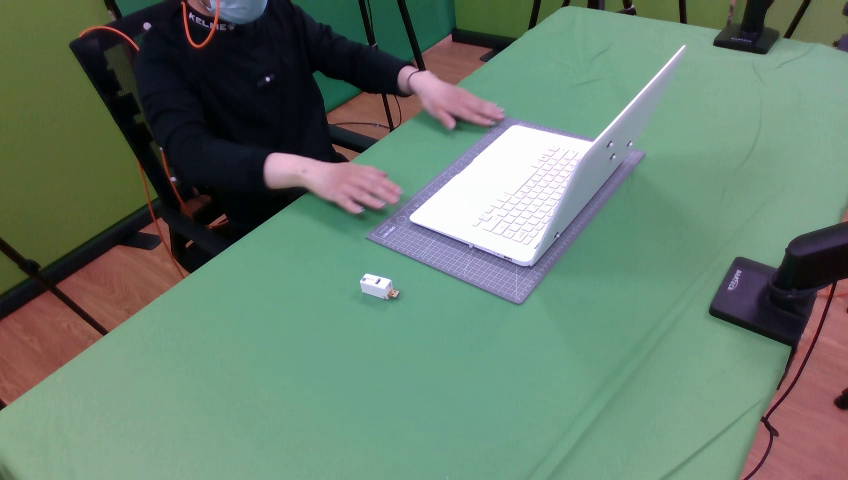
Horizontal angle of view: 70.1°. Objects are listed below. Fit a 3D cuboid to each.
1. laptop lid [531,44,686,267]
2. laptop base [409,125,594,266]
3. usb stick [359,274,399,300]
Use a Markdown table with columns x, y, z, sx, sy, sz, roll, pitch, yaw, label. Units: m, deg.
| x | y | z | sx | sy | sz | roll | pitch | yaw | label |
| --- | --- | --- | --- | --- | --- | --- | --- | --- | --- |
| 0.279 | -0.128 | 0.906 | 0.013 | 0.242 | 0.357 | 34 | 52 | 17 | laptop lid |
| 0.168 | -0.093 | 1.055 | 0.233 | 0.023 | 0.355 | 20 | 47 | 32 | laptop base |
| -0.065 | 0.071 | 0.892 | 0.059 | 0.027 | 0.021 | 16 | 44 | 22 | usb stick |
